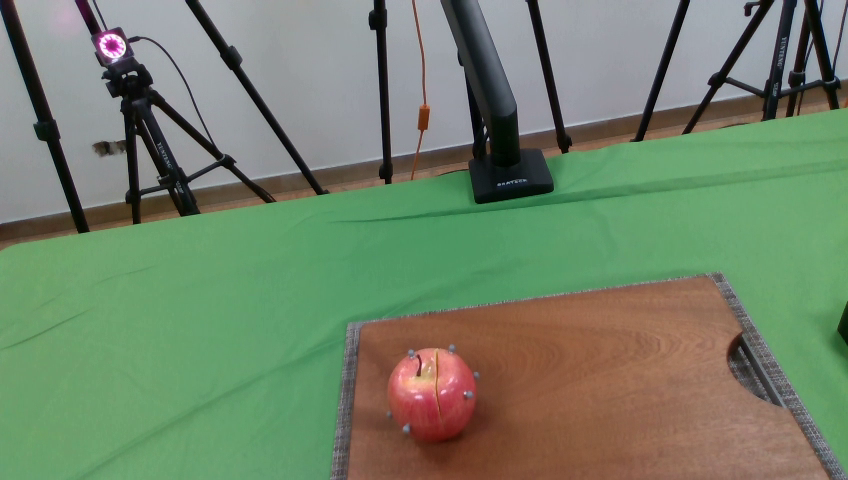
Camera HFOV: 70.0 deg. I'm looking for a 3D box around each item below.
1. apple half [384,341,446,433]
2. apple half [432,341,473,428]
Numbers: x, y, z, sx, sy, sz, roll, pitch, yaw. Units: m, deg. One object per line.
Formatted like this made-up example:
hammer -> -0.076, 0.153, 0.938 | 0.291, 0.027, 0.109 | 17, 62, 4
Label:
apple half -> -0.009, 0.140, 0.565 | 0.053, 0.075, 0.080 | -11, 42, 8
apple half -> 0.030, 0.134, 0.561 | 0.033, 0.082, 0.080 | -9, 39, 8
